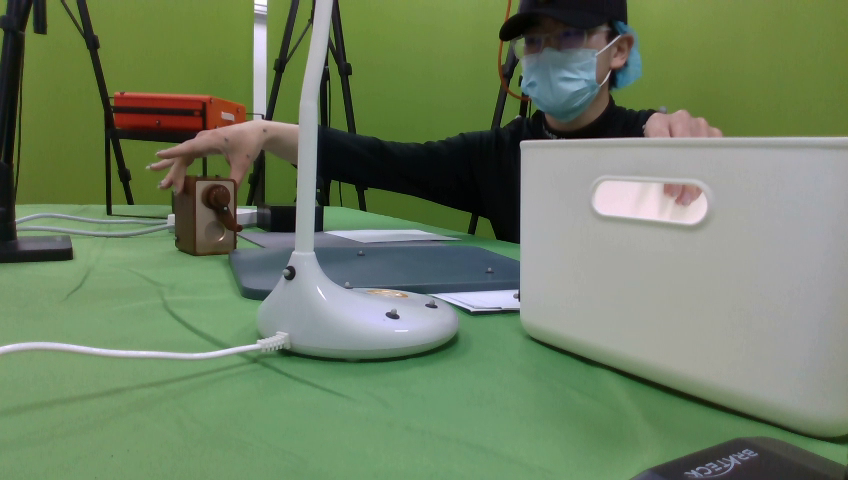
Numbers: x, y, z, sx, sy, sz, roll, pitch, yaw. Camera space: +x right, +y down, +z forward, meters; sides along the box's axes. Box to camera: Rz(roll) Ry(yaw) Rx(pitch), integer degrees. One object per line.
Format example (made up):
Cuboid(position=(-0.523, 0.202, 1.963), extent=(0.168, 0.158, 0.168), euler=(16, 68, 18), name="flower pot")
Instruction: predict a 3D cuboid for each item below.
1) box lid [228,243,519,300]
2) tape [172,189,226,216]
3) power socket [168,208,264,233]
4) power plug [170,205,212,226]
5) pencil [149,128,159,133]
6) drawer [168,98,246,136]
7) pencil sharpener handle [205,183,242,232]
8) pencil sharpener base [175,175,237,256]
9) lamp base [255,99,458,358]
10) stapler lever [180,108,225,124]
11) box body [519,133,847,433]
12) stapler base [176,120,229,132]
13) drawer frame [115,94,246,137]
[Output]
Cuboid(position=(-0.044, 0.033, 0.757), extent=(0.373, 0.015, 0.262), euler=(-1, 9, -22), name="box lid")
Cuboid(position=(-0.515, -0.087, 1.388), extent=(0.117, 0.052, 0.117), euler=(3, 8, 0), name="tape")
Cuboid(position=(-0.381, -0.038, 1.129), extent=(0.072, 0.032, 0.227), euler=(4, 8, 16), name="power socket")
Cuboid(position=(-0.455, -0.041, 1.196), extent=(0.052, 0.035, 0.072), euler=(1, 42, 23), name="power plug")
Cuboid(position=(-0.528, -0.258, 1.361), extent=(0.012, 0.012, 0.195), euler=(8, 20, 35), name="pencil")
Cuboid(position=(-0.539, -0.279, 1.374), extent=(0.212, 0.073, 0.194), euler=(2, 8, 5), name="drawer")
Cuboid(position=(-0.265, -0.043, 0.812), extent=(0.036, 0.068, 0.030), euler=(-32, 28, -35), name="pencil sharpener handle")
Cuboid(position=(-0.305, -0.036, 0.847), extent=(0.062, 0.107, 0.076), euler=(-4, 11, -42), name="pencil sharpener base")
Cuboid(position=(-0.056, -0.013, 0.462), extent=(0.160, 0.180, 0.180), euler=(6, 11, 27), name="lamp base")
Cuboid(position=(-0.496, -0.281, 1.359), extent=(0.027, 0.040, 0.118), euler=(2, 7, 22), name="stapler lever")
Cuboid(position=(0.279, 0.005, 0.485), extent=(0.366, 0.160, 0.253), euler=(-3, 9, -36), name="box body")
Cuboid(position=(-0.496, -0.257, 1.364), extent=(0.041, 0.024, 0.131), euler=(2, 9, 22), name="stapler base")
Cuboid(position=(-0.543, -0.281, 1.374), extent=(0.213, 0.082, 0.201), euler=(2, 8, 4), name="drawer frame")
